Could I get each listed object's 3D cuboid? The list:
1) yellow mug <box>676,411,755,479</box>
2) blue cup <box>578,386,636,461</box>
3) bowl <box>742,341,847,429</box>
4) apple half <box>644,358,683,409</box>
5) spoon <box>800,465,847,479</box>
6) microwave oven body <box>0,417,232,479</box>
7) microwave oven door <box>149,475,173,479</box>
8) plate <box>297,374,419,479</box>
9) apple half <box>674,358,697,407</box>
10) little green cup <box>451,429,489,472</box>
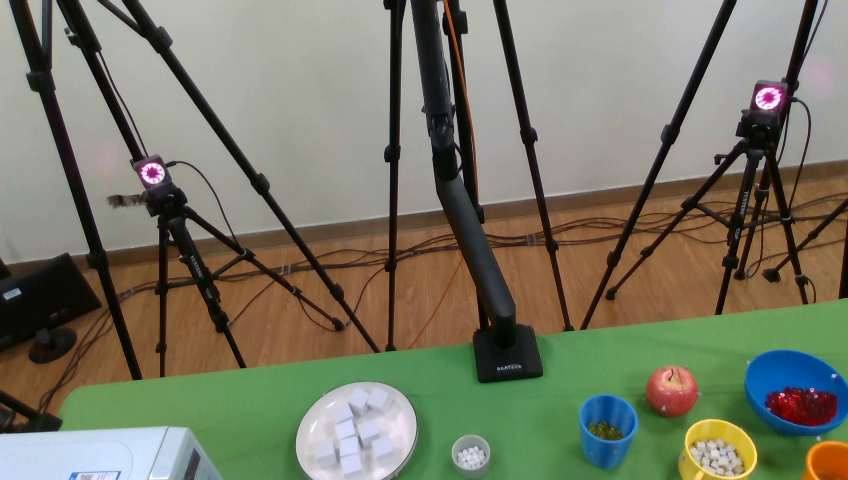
[{"bbox_3d":[0.427,0.327,0.906,0.131,0.064,0.099,-37,47,-27],"label":"yellow mug"},{"bbox_3d":[0.280,0.293,0.945,0.092,0.101,0.091,-4,42,4],"label":"blue cup"},{"bbox_3d":[0.582,0.244,0.964,0.151,0.077,0.150,-5,41,5],"label":"bowl"},{"bbox_3d":[0.394,0.240,1.008,0.053,0.075,0.080,-5,44,10],"label":"apple half"},{"bbox_3d":[0.602,0.324,0.813,0.041,0.193,0.021,-36,91,-28],"label":"spoon"},{"bbox_3d":[-0.459,0.478,0.736,0.326,0.263,0.437,-4,41,5],"label":"microwave oven body"},{"bbox_3d":[-0.316,0.490,0.688,0.039,0.246,0.352,-5,41,5],"label":"microwave oven door"},{"bbox_3d":[-0.109,0.323,1.031,0.207,0.039,0.205,-5,40,5],"label":"plate"},{"bbox_3d":[0.432,0.237,1.002,0.033,0.082,0.080,-5,40,10],"label":"apple half"},{"bbox_3d":[0.076,0.341,0.977,0.061,0.039,0.061,-5,41,5],"label":"little green cup"}]
